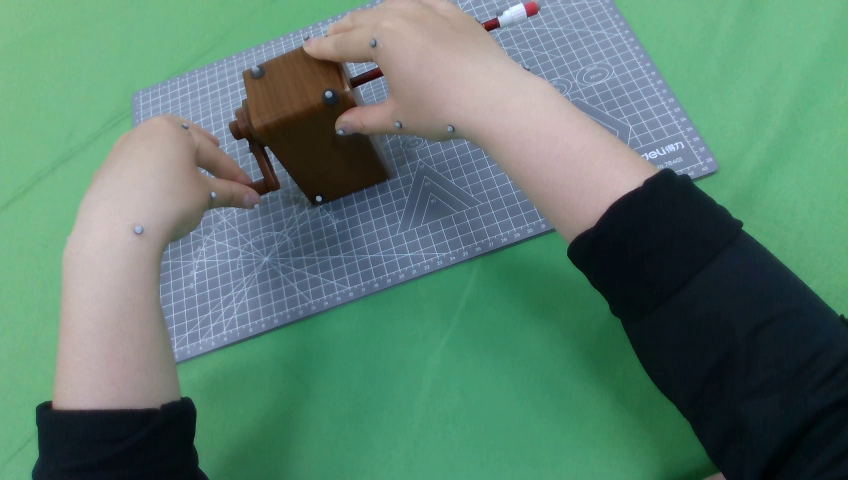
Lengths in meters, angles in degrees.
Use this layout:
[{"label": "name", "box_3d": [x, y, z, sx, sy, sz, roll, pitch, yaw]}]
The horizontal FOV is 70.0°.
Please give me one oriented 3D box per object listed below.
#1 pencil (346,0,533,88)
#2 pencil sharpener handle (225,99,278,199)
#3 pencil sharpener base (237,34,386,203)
[{"label": "pencil", "box_3d": [-0.014, -0.128, 0.428, 0.194, 0.012, 0.012, -23, 60, 4]}, {"label": "pencil sharpener handle", "box_3d": [-0.131, -0.065, 0.438, 0.030, 0.036, 0.068, -23, 101, 3]}, {"label": "pencil sharpener base", "box_3d": [-0.083, -0.086, 0.457, 0.076, 0.108, 0.061, -23, 60, 3]}]
